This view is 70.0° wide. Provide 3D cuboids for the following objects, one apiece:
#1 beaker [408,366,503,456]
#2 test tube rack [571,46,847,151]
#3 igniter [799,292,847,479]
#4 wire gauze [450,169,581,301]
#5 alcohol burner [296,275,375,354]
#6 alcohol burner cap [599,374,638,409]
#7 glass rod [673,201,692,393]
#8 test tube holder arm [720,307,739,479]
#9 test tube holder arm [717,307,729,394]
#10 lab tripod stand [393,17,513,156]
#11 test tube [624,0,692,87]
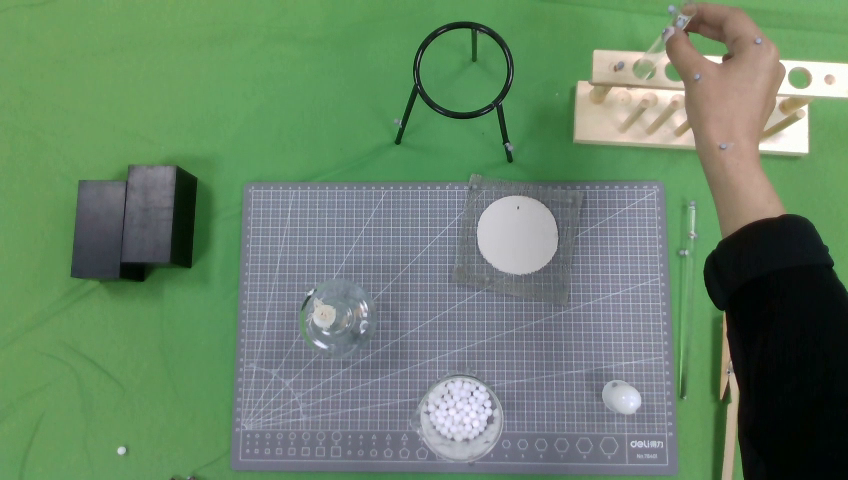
[{"bbox_3d":[0.030,0.157,0.573,0.084,0.100,0.073,-8,81,2],"label":"beaker"},{"bbox_3d":[0.280,-0.140,0.613,0.242,0.085,0.066,4,82,2],"label":"test tube rack"},{"bbox_3d":[0.399,0.189,0.596,0.057,0.025,0.275,10,83,-7],"label":"igniter"},{"bbox_3d":[0.097,-0.007,0.638,0.125,0.011,0.121,11,84,3],"label":"wire gauze"},{"bbox_3d":[-0.089,0.071,0.580,0.078,0.119,0.077,-1,81,4],"label":"alcohol burner"},{"bbox_3d":[0.194,0.150,0.597,0.034,0.048,0.034,0,82,2],"label":"alcohol burner cap"},{"bbox_3d":[0.267,0.058,0.626,0.008,0.008,0.199,6,85,2],"label":"glass rod"},{"bbox_3d":[0.305,0.157,0.606,0.013,0.015,0.178,0,82,36],"label":"test tube holder arm"},{"bbox_3d":[0.304,0.112,0.614,0.010,0.015,0.087,0,82,36],"label":"test tube holder arm"},{"bbox_3d":[0.033,-0.144,0.597,0.148,0.132,0.148,0,84,2],"label":"lab tripod stand"},{"bbox_3d":[0.207,-0.173,0.548,0.017,0.150,0.017,0,82,2],"label":"test tube"}]
